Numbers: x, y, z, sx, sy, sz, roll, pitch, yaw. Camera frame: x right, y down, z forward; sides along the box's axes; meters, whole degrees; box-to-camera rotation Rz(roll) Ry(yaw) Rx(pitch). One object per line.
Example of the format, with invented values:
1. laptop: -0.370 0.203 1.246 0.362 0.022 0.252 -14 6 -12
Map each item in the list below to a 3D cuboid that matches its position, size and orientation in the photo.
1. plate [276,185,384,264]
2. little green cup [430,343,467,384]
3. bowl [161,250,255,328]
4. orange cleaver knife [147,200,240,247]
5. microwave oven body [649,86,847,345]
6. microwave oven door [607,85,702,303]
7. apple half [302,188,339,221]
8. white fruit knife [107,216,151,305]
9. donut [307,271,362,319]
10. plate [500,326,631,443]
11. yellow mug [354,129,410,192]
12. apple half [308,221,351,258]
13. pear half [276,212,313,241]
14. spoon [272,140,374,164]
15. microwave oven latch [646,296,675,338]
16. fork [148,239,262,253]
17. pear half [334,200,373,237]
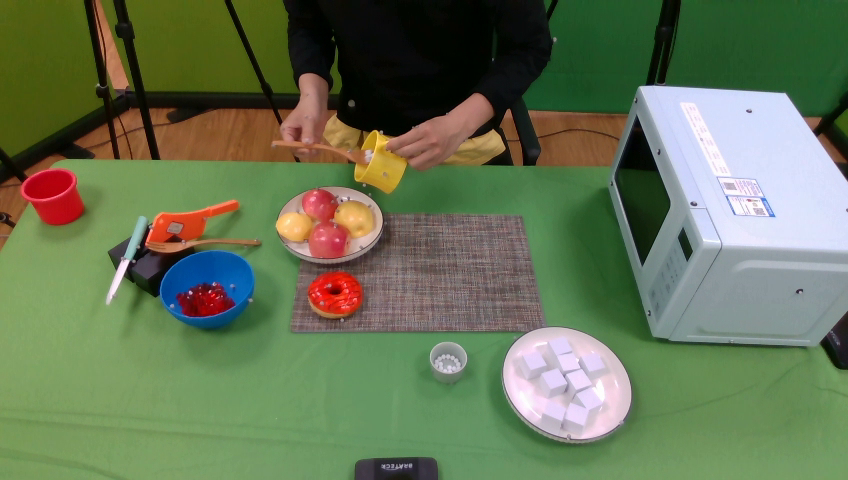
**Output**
1. plate: -0.184 -0.027 1.195 0.209 0.038 0.208 2 46 -2
2. little green cup: 0.039 0.203 0.993 0.061 0.039 0.061 2 46 -2
3. bowl: -0.362 0.097 1.040 0.151 0.077 0.150 2 45 -2
4. orange cleaver knife: -0.435 -0.033 1.157 0.012 0.077 0.211 31 26 18
5. microwave oven body: 0.568 -0.053 1.118 0.326 0.261 0.439 2 45 -1
6. microwave oven door: 0.423 -0.094 1.140 0.039 0.245 0.353 2 46 -1
7. apple half: -0.205 -0.076 1.217 0.081 0.033 0.081 18 46 -19
8. white fruit knife: -0.518 0.032 1.066 0.027 0.016 0.206 -18 45 19
9. donut: -0.157 0.097 1.072 0.099 0.048 0.098 4 45 -4
10. plate: 0.224 0.234 0.978 0.208 0.039 0.206 2 46 -2
11. yellow mug: -0.072 -0.149 1.096 0.064 0.131 0.099 20 65 -23
12. apple half: -0.180 -0.005 1.150 0.074 0.053 0.080 14 43 8
13. pear half: -0.244 -0.035 1.178 0.070 0.031 0.088 40 42 1
14. spoon: -0.175 -0.164 1.096 0.194 0.022 0.041 9 48 -13
15. microwave oven latch: 0.412 0.134 1.061 0.030 0.029 0.078 4 45 1
16. fork: -0.398 0.008 1.117 0.208 0.019 0.028 -5 34 -37
17. pear half: -0.147 -0.059 1.210 0.076 0.056 0.109 -16 44 -24
